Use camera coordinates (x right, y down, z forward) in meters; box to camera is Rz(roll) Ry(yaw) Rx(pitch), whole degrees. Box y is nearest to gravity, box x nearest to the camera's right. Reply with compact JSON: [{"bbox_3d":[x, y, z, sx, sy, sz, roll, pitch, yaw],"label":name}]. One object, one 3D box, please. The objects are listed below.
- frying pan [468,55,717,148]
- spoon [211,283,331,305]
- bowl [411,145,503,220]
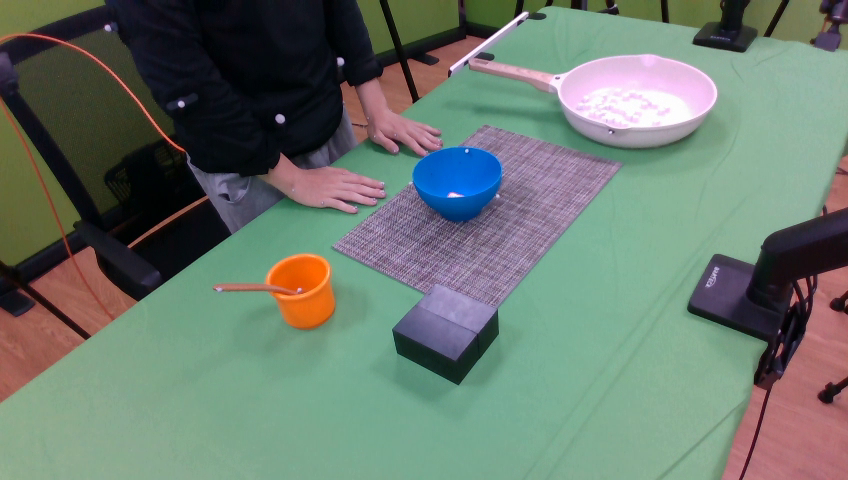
[{"bbox_3d":[0.316,-0.304,1.213,0.485,0.103,0.307,20,46,17],"label":"frying pan"},{"bbox_3d":[-0.201,0.069,0.819,0.041,0.195,0.021,33,99,37],"label":"spoon"},{"bbox_3d":[0.058,-0.086,1.010,0.151,0.077,0.150,-4,41,4],"label":"bowl"}]
